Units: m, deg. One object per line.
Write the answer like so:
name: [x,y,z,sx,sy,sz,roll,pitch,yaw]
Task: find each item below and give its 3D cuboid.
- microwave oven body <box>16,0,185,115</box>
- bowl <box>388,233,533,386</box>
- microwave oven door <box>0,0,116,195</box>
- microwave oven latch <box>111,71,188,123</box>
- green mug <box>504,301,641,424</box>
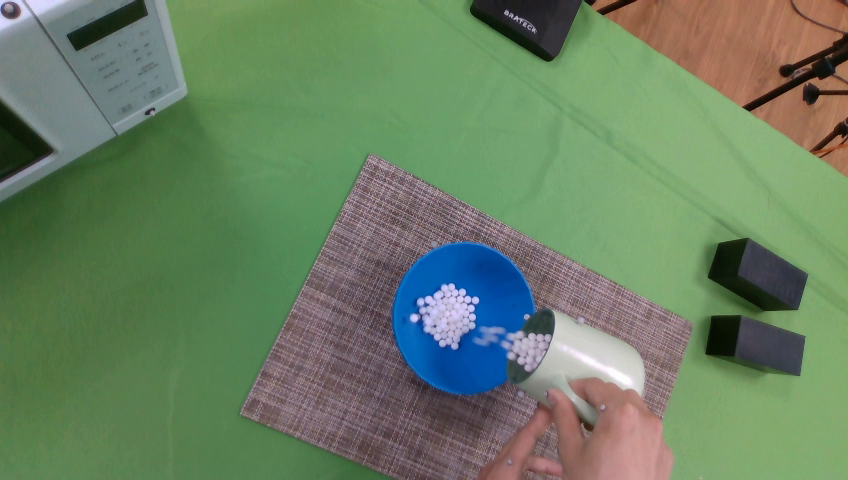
microwave oven body: [-0.459,-0.174,0.415,0.441,0.260,0.326,-37,95,-16]
bowl: [0.029,0.072,0.629,0.152,0.076,0.151,2,83,-17]
microwave oven door: [-0.405,-0.032,0.411,0.355,0.243,0.039,-37,94,-17]
microwave oven latch: [-0.263,-0.143,0.571,0.079,0.029,0.030,-35,94,-17]
green mug: [0.141,0.121,0.560,0.105,0.124,0.092,29,106,-12]
